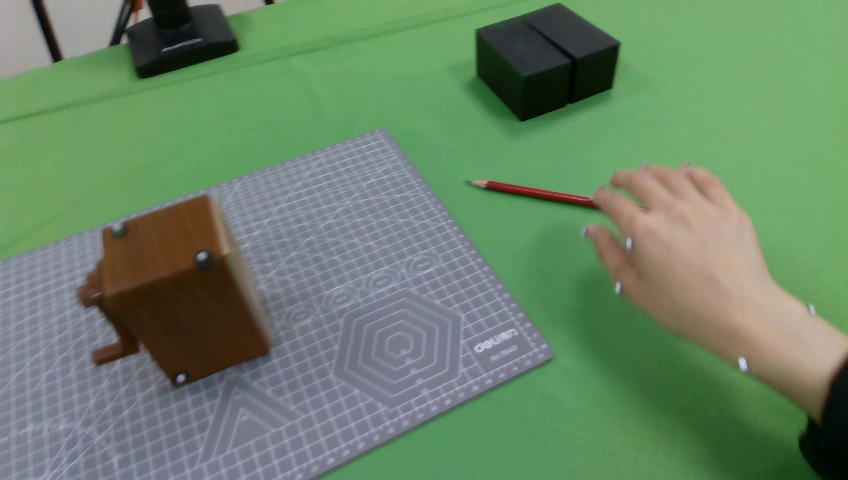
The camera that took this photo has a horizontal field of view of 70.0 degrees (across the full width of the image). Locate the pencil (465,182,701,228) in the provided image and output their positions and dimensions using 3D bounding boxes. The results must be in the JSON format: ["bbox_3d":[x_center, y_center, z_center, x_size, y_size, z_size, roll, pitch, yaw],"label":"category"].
[{"bbox_3d":[0.126,-0.032,0.504,0.193,0.012,0.012,12,50,18],"label":"pencil"}]

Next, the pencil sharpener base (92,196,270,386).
[{"bbox_3d":[-0.155,0.037,0.396,0.077,0.108,0.060,-20,49,-12],"label":"pencil sharpener base"}]

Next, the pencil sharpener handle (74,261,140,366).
[{"bbox_3d":[-0.201,0.048,0.373,0.031,0.068,0.035,-20,32,-12],"label":"pencil sharpener handle"}]
